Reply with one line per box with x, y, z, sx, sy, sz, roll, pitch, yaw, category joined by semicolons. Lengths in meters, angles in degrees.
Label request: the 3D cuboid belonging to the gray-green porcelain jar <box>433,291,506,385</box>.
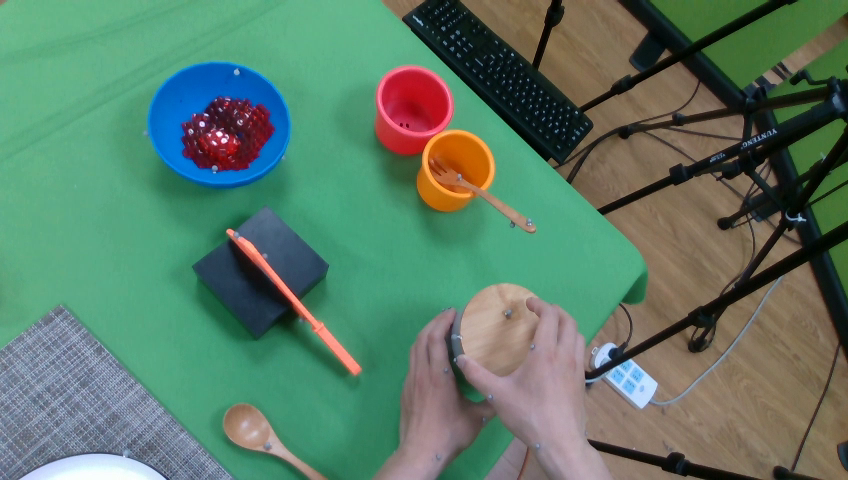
0.070;0.110;0.686;0.106;0.127;0.105;4;73;-13;gray-green porcelain jar

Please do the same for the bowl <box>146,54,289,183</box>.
-0.234;-0.128;0.702;0.152;0.077;0.150;4;74;-13;bowl

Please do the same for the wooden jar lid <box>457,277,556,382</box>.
0.084;0.093;0.628;0.109;0.021;0.108;4;74;-15;wooden jar lid

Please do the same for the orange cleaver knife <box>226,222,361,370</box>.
-0.143;0.063;0.668;0.012;0.076;0.213;-43;111;-18;orange cleaver knife

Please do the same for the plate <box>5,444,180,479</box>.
-0.321;0.302;0.575;0.210;0.038;0.208;4;74;-14;plate

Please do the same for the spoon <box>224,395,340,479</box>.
-0.135;0.235;0.653;0.194;0.022;0.041;38;50;-1;spoon

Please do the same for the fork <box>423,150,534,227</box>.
0.061;-0.064;0.720;0.028;0.019;0.205;-26;38;-22;fork
